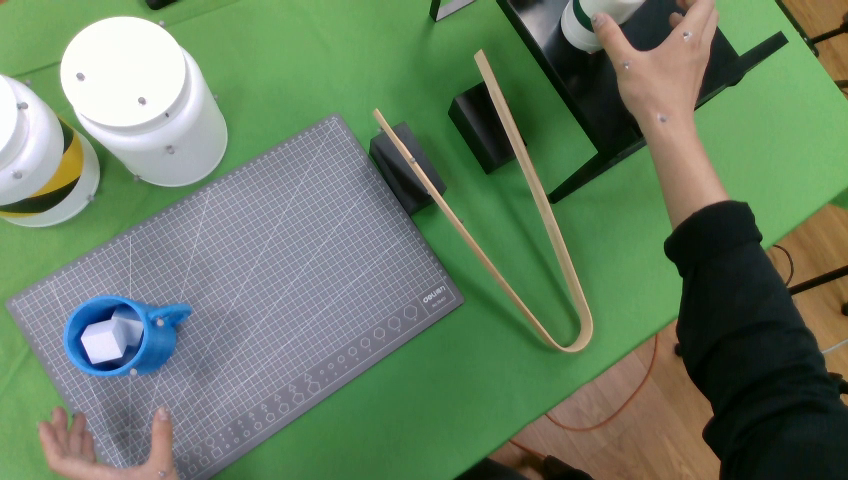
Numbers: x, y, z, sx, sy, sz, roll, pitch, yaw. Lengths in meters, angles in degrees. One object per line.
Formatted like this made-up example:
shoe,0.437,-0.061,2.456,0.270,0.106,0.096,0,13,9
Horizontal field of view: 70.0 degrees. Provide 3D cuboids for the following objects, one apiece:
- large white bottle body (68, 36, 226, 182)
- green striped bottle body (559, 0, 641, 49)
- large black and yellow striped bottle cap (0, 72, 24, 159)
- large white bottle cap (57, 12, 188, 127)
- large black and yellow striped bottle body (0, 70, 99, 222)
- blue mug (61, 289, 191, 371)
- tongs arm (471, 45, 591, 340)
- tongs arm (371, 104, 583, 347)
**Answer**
large white bottle body,-0.301,-0.149,0.668,0.131,0.185,0.130,1,79,-8
green striped bottle body,0.184,-0.248,0.605,0.063,0.119,0.063,1,79,-8
large black and yellow striped bottle cap,-0.435,-0.117,0.558,0.115,0.019,0.114,2,80,-9
large white bottle cap,-0.290,-0.166,0.586,0.115,0.018,0.114,2,79,-8
large black and yellow striped bottle body,-0.445,-0.100,0.639,0.131,0.184,0.130,2,79,-7
blue mug,-0.313,0.093,0.662,0.116,0.106,0.082,-25,83,-12
tongs arm,0.135,-0.057,0.758,0.028,0.027,0.388,-25,96,-20
tongs arm,0.068,-0.014,0.738,0.051,0.026,0.386,-38,99,-15
